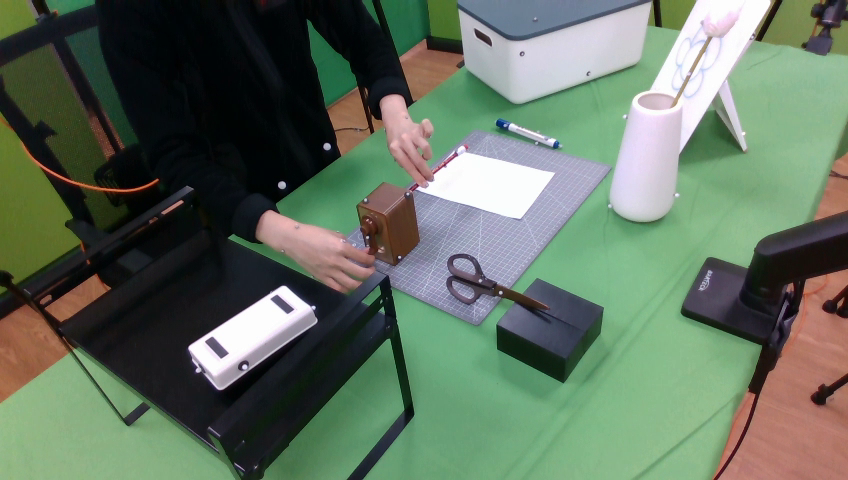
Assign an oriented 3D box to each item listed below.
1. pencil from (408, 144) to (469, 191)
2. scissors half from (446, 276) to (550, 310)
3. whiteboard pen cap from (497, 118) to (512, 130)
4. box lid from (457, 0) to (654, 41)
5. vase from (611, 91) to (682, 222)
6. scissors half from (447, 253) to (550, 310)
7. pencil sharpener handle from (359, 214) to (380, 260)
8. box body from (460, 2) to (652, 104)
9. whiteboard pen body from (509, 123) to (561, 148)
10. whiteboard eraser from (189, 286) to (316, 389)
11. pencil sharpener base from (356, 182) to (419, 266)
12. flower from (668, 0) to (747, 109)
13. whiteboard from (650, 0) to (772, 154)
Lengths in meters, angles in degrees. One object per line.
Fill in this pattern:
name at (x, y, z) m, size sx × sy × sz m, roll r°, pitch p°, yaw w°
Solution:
pencil at (0.011, -0.107, 0.984) m, size 0.012 × 0.012 × 0.194 m, roll 26°, pitch 52°, yaw 33°
scissors half at (0.098, 0.077, 0.827) m, size 0.174 × 0.040 × 0.013 m, roll 6°, pitch 14°, yaw 44°
whiteboard pen cap at (0.165, -0.235, 1.227) m, size 0.033 × 0.018 × 0.018 m, roll 31°, pitch 53°, yaw 31°
box lid at (0.285, -0.522, 1.323) m, size 0.373 × 0.015 × 0.261 m, roll -22°, pitch 43°, yaw -16°
vase at (0.348, -0.125, 0.935) m, size 0.098 × 0.201 × 0.097 m, roll -3°, pitch 40°, yaw 3°
scissors half at (0.098, 0.058, 0.821) m, size 0.173 × 0.040 × 0.013 m, roll 27°, pitch 33°, yaw 37°
pencil sharpener handle at (-0.086, -0.003, 0.902) m, size 0.035 × 0.068 × 0.031 m, roll 19°, pitch 48°, yaw 31°
box body at (0.291, -0.465, 1.371) m, size 0.365 × 0.161 × 0.252 m, roll -22°, pitch 42°, yaw -16°
whiteboard pen body at (0.209, -0.212, 1.195) m, size 0.139 × 0.017 × 0.017 m, roll 30°, pitch 52°, yaw 33°
whiteboard eraser at (-0.166, 0.096, 0.593) m, size 0.113 × 0.042 × 0.055 m, roll -36°, pitch 47°, yaw -29°
pencil sharpener base at (-0.056, -0.024, 0.940) m, size 0.061 × 0.107 × 0.077 m, roll 21°, pitch 48°, yaw 29°
flower at (0.354, -0.187, 0.879) m, size 0.038 × 0.362 × 0.044 m, roll 30°, pitch 48°, yaw 14°
whiteboard at (0.543, -0.298, 1.076) m, size 0.144 × 0.305 × 0.216 m, roll 12°, pitch 40°, yaw -7°
